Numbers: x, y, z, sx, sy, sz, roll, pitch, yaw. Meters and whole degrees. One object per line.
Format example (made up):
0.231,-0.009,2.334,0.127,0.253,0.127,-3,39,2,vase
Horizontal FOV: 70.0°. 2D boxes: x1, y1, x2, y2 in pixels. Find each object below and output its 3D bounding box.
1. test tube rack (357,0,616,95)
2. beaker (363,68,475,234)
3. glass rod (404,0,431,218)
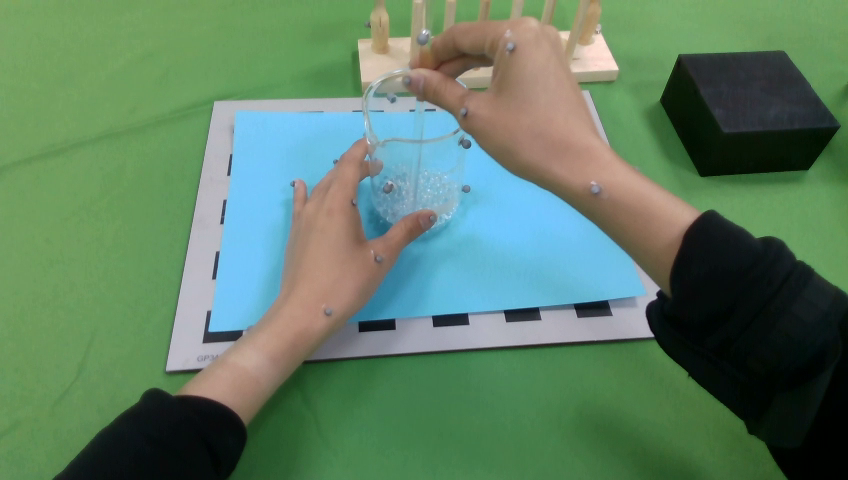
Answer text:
0.060,-0.194,0.557,0.243,0.086,0.066,-4,52,-6,test tube rack
-0.007,-0.058,0.435,0.073,0.101,0.084,35,59,23,beaker
-0.005,-0.082,0.378,0.008,0.201,0.008,3,50,-3,glass rod
